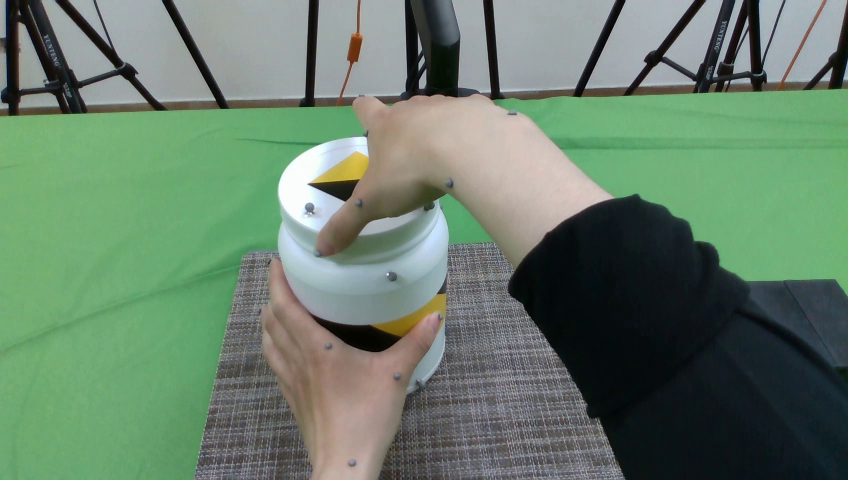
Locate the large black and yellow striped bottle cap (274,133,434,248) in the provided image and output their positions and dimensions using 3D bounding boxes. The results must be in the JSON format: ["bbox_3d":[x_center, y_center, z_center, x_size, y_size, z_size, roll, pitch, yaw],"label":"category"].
[{"bbox_3d":[-0.050,-0.039,0.436,0.115,0.019,0.114,1,43,-1],"label":"large black and yellow striped bottle cap"}]

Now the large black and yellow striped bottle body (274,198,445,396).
[{"bbox_3d":[-0.048,0.025,0.495,0.131,0.185,0.129,0,42,0],"label":"large black and yellow striped bottle body"}]
